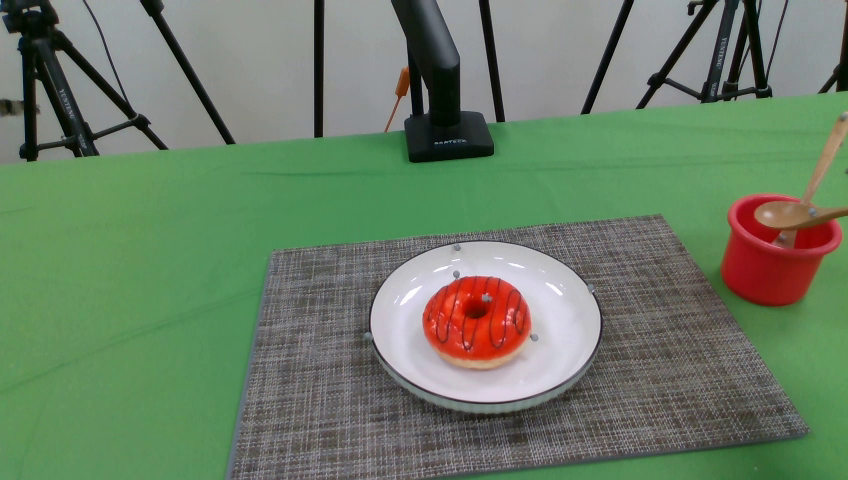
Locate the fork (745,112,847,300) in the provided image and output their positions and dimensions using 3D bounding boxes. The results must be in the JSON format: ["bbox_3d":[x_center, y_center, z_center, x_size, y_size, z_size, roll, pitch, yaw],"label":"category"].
[{"bbox_3d":[0.369,-0.035,0.592,0.028,0.019,0.207,26,89,32],"label":"fork"}]

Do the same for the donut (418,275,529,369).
[{"bbox_3d":[0.044,0.072,0.542,0.099,0.049,0.098,-3,40,3],"label":"donut"}]

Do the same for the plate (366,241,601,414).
[{"bbox_3d":[0.053,0.077,0.553,0.209,0.038,0.207,-2,37,2],"label":"plate"}]

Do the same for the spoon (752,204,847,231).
[{"bbox_3d":[0.351,-0.021,0.486,0.041,0.022,0.193,-30,9,-17],"label":"spoon"}]
